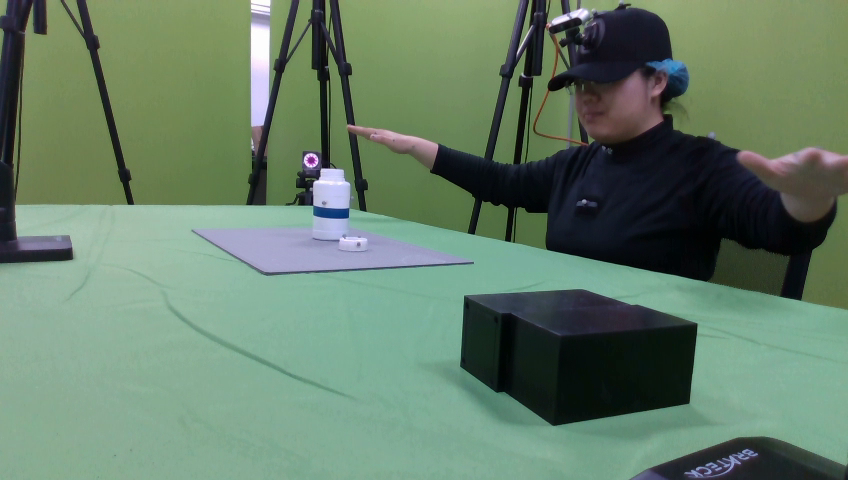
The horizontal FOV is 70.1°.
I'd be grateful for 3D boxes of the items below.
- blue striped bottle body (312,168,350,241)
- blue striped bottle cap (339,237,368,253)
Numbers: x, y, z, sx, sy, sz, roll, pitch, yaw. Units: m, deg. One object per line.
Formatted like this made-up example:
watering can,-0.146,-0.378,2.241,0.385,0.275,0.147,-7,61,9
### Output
blue striped bottle body,-0.157,-0.062,1.025,0.063,0.120,0.063,3,7,0
blue striped bottle cap,-0.107,0.007,0.920,0.044,0.020,0.044,1,7,0
